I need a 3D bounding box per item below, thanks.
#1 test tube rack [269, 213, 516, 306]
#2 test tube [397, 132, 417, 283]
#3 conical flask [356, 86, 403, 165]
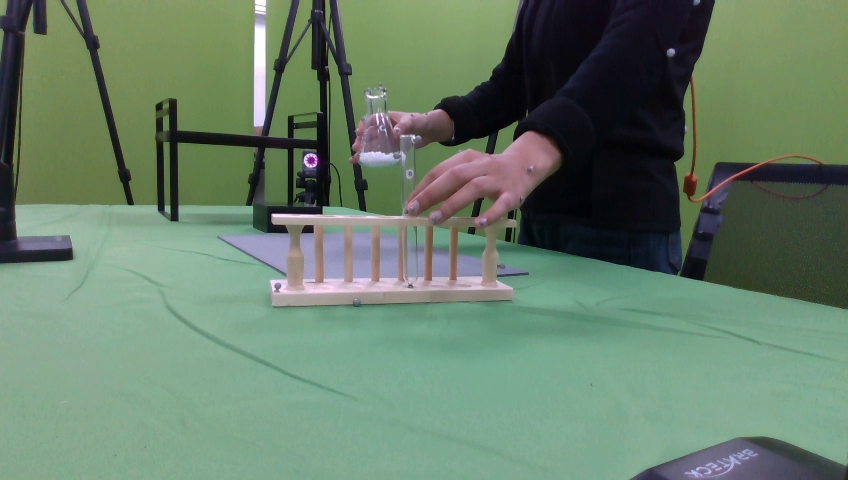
[{"bbox_3d":[-0.032,0.015,0.617,0.243,0.085,0.066,0,8,-17],"label":"test tube rack"},{"bbox_3d":[-0.017,-0.031,0.599,0.017,0.150,0.017,-1,9,1],"label":"test tube"},{"bbox_3d":[-0.076,-0.183,0.972,0.075,0.122,0.075,-5,3,1],"label":"conical flask"}]
